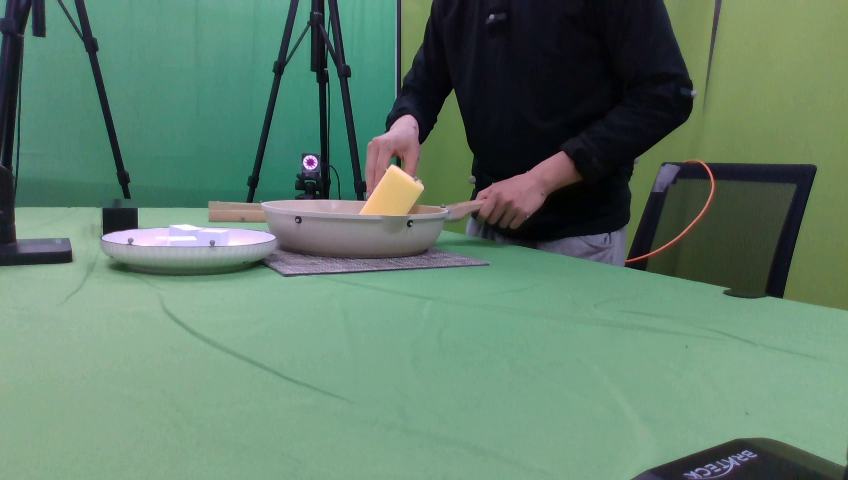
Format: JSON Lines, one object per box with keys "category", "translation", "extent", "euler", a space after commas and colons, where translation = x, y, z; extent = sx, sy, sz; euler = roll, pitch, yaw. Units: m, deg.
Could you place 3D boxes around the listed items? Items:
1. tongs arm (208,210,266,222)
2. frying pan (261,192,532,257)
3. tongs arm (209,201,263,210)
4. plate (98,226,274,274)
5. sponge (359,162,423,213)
{"category": "tongs arm", "translation": [-0.280, -0.055, 1.355], "extent": [0.389, 0.028, 0.028], "euler": [-1, 6, -28]}
{"category": "frying pan", "translation": [-0.016, -0.044, 1.006], "extent": [0.490, 0.102, 0.305], "euler": [-11, 13, -26]}
{"category": "tongs arm", "translation": [-0.306, -0.071, 1.430], "extent": [0.386, 0.026, 0.050], "euler": [1, 9, -15]}
{"category": "plate", "translation": [-0.301, 0.012, 0.778], "extent": [0.208, 0.039, 0.207], "euler": [3, 7, 0]}
{"category": "sponge", "translation": [-0.060, -0.059, 0.972], "extent": [0.061, 0.118, 0.206], "euler": [33, 6, -7]}
